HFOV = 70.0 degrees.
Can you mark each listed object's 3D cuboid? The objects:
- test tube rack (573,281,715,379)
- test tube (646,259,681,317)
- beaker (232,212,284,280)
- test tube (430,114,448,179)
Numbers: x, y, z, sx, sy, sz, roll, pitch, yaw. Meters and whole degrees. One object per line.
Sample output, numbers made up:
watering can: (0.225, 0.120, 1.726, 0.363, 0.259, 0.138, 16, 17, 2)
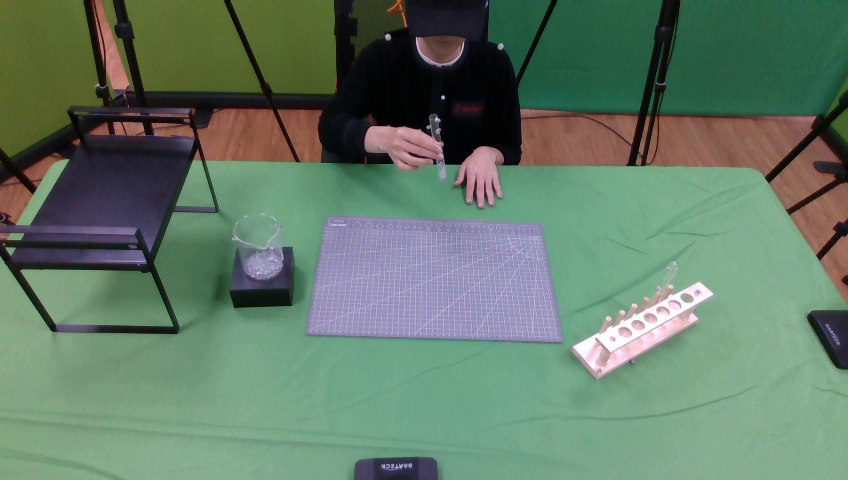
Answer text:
test tube rack: (0.378, 0.140, 1.038, 0.242, 0.085, 0.066, -22, 51, -23)
test tube: (0.406, 0.083, 1.033, 0.017, 0.151, 0.017, 2, 48, -2)
beaker: (-0.280, 0.016, 1.037, 0.074, 0.101, 0.083, -18, 50, -20)
test tube: (0.028, -0.170, 1.116, 0.017, 0.151, 0.017, -6, 49, 7)
